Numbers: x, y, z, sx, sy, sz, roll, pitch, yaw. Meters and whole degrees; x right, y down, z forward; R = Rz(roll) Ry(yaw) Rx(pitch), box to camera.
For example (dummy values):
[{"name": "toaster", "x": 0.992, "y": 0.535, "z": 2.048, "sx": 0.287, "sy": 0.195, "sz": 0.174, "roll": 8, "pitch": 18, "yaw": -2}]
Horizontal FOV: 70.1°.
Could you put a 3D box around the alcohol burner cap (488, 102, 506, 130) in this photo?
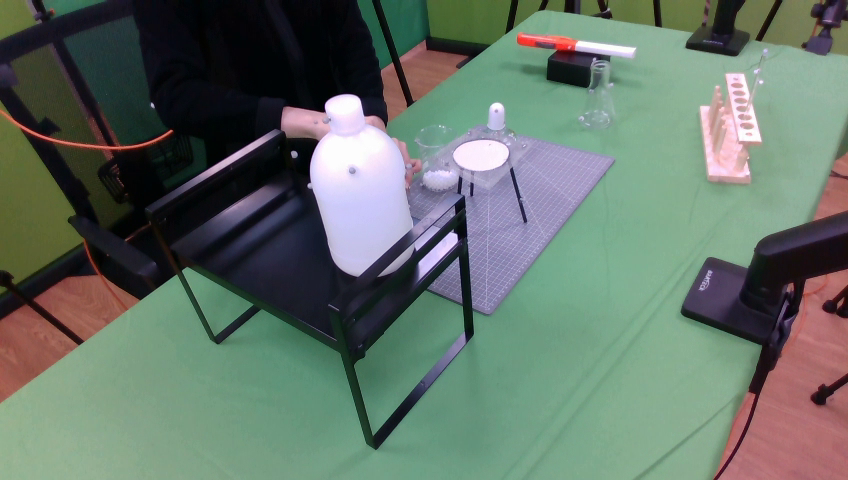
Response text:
[{"name": "alcohol burner cap", "x": 0.133, "y": -0.227, "z": 1.092, "sx": 0.034, "sy": 0.048, "sz": 0.033, "roll": -1, "pitch": 47, "yaw": 2}]

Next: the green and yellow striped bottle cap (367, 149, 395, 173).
[{"name": "green and yellow striped bottle cap", "x": -0.069, "y": -0.127, "z": 0.969, "sx": 0.045, "sy": 0.020, "sz": 0.045, "roll": -4, "pitch": 37, "yaw": 4}]

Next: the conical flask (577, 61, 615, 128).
[{"name": "conical flask", "x": 0.343, "y": -0.288, "z": 1.188, "sx": 0.075, "sy": 0.122, "sz": 0.075, "roll": -4, "pitch": 41, "yaw": 4}]

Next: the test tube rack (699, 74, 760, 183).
[{"name": "test tube rack", "x": 0.547, "y": -0.208, "z": 1.095, "sx": 0.066, "sy": 0.085, "sz": 0.242, "roll": 6, "pitch": 42, "yaw": 16}]

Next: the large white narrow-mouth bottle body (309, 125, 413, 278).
[{"name": "large white narrow-mouth bottle body", "x": -0.068, "y": -0.057, "z": 0.644, "sx": 0.102, "sy": 0.195, "sz": 0.101, "roll": -3, "pitch": 42, "yaw": 4}]

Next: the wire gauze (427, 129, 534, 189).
[{"name": "wire gauze", "x": 0.086, "y": -0.131, "z": 0.924, "sx": 0.124, "sy": 0.011, "sz": 0.122, "roll": 26, "pitch": 52, "yaw": 33}]

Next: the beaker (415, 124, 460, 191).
[{"name": "beaker", "x": 0.027, "y": -0.147, "z": 1.081, "sx": 0.073, "sy": 0.100, "sz": 0.084, "roll": 12, "pitch": 43, "yaw": 21}]

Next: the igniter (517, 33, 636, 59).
[{"name": "igniter", "x": 0.336, "y": -0.441, "z": 1.369, "sx": 0.275, "sy": 0.025, "sz": 0.057, "roll": 16, "pitch": 41, "yaw": 23}]

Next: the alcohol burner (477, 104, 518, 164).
[{"name": "alcohol burner", "x": 0.135, "y": -0.200, "z": 1.117, "sx": 0.078, "sy": 0.119, "sz": 0.077, "roll": -4, "pitch": 43, "yaw": 4}]

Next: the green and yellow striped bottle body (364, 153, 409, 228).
[{"name": "green and yellow striped bottle body", "x": -0.063, "y": -0.084, "z": 1.004, "sx": 0.063, "sy": 0.120, "sz": 0.063, "roll": -4, "pitch": 40, "yaw": 4}]

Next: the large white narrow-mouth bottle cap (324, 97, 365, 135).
[{"name": "large white narrow-mouth bottle cap", "x": -0.076, "y": -0.120, "z": 0.585, "sx": 0.038, "sy": 0.024, "sz": 0.037, "roll": -3, "pitch": 42, "yaw": 3}]

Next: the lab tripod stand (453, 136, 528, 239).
[{"name": "lab tripod stand", "x": 0.094, "y": -0.086, "z": 0.974, "sx": 0.148, "sy": 0.132, "sz": 0.147, "roll": -4, "pitch": 42, "yaw": 4}]

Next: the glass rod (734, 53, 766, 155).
[{"name": "glass rod", "x": 0.540, "y": -0.220, "z": 1.006, "sx": 0.008, "sy": 0.201, "sz": 0.008, "roll": -5, "pitch": 45, "yaw": 6}]
